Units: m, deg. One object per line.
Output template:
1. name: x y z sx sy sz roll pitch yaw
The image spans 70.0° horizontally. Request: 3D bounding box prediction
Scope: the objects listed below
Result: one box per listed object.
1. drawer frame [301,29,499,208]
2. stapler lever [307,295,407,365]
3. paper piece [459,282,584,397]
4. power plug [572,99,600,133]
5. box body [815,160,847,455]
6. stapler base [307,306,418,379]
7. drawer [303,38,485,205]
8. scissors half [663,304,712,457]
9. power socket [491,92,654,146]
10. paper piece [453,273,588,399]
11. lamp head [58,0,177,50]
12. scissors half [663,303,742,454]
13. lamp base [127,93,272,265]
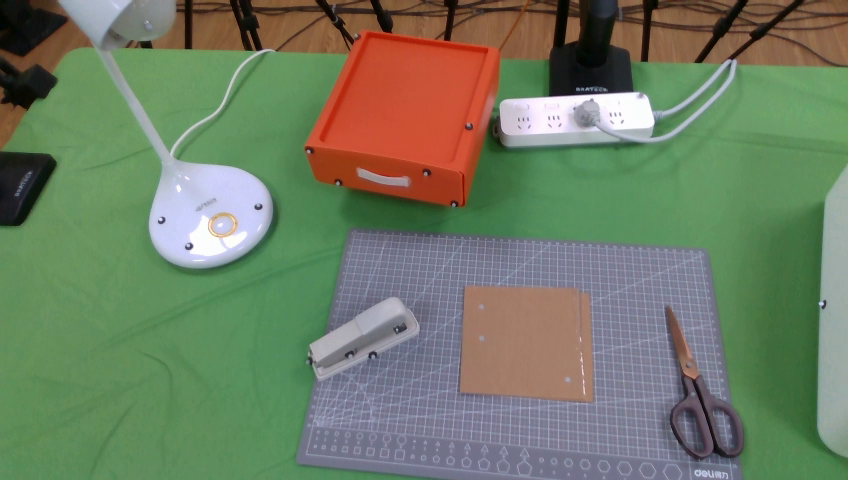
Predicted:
1. drawer frame: -0.023 -0.163 0.786 0.201 0.083 0.212 11 60 11
2. stapler lever: -0.074 0.098 0.672 0.118 0.040 0.026 -25 55 -10
3. paper piece: 0.110 0.109 0.690 0.136 0.009 0.137 0 59 9
4. power plug: 0.217 -0.159 0.818 0.035 0.053 0.072 8 58 9
5. box body: 0.554 0.061 0.602 0.253 0.162 0.362 15 60 13
6. stapler base: -0.071 0.111 0.693 0.130 0.024 0.041 -25 56 -10
7. drawer: -0.023 -0.159 0.781 0.194 0.074 0.210 11 58 12
8. scissors half: 0.275 0.144 0.652 0.040 0.013 0.173 7 54 -1
9. power socket: 0.209 -0.170 0.853 0.227 0.033 0.071 -1 58 3
10. paper piece: 0.114 0.107 0.703 0.135 0.004 0.135 9 60 18
11. lamp head: -0.267 -0.235 0.494 0.123 0.112 0.112 44 64 -14
12. scissors half: 0.295 0.143 0.654 0.040 0.013 0.173 -10 56 -7
13. lamp base: -0.297 -0.084 0.744 0.178 0.182 0.160 33 64 26
